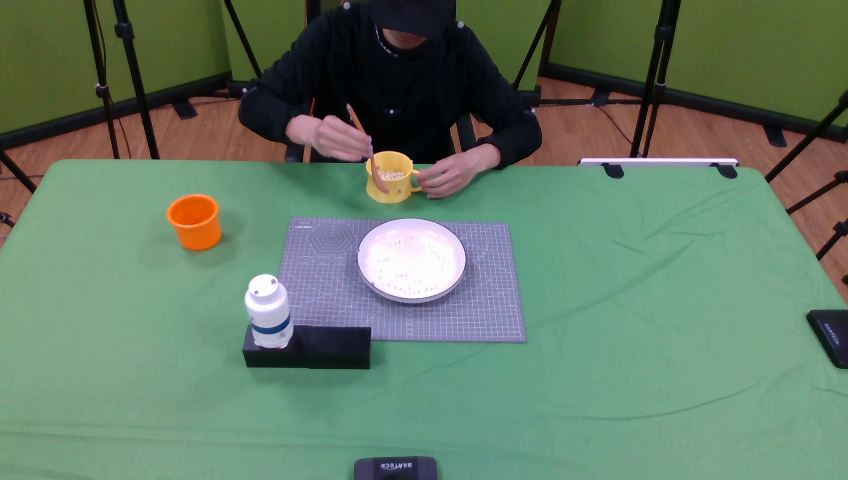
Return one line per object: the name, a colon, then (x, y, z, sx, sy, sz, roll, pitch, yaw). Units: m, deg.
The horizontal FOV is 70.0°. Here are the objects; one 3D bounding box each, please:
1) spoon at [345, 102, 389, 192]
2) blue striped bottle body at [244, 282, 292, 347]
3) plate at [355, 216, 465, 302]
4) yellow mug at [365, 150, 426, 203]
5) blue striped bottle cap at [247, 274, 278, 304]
spoon: (-0.106, -0.172, 1.137, 0.021, 0.195, 0.041, -16, 32, 6)
blue striped bottle body: (-0.241, 0.108, 0.937, 0.063, 0.121, 0.062, 2, 46, -2)
plate: (-0.027, 0.039, 1.144, 0.208, 0.039, 0.206, 2, 46, -2)
yellow mug: (-0.061, -0.133, 1.291, 0.131, 0.064, 0.099, 8, 46, 3)
blue striped bottle cap: (-0.239, 0.072, 0.900, 0.044, 0.021, 0.044, 4, 46, -4)
